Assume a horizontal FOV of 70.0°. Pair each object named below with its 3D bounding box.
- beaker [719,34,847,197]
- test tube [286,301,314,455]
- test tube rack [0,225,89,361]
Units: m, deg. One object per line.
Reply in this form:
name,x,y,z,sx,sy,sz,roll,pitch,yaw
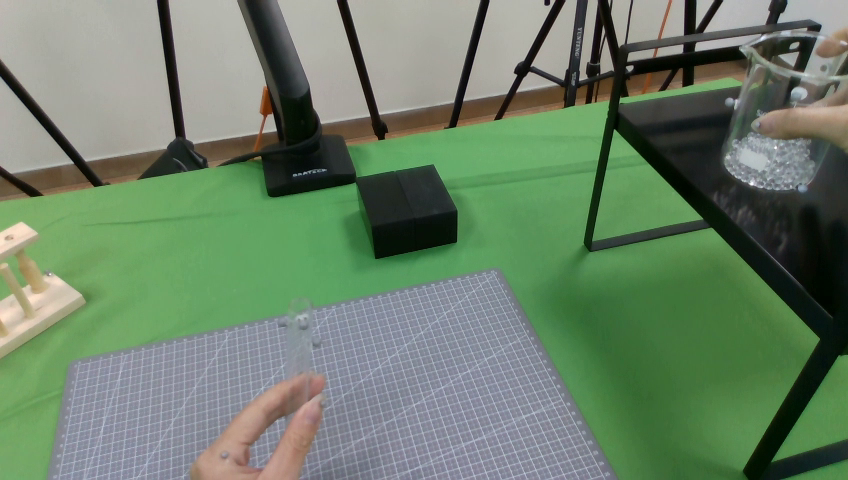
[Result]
beaker,0.265,-0.090,0.448,0.083,0.101,0.074,24,48,28
test tube,-0.086,0.100,0.416,0.017,0.151,0.017,7,37,-5
test tube rack,-0.464,0.090,0.576,0.066,0.086,0.242,25,47,28
